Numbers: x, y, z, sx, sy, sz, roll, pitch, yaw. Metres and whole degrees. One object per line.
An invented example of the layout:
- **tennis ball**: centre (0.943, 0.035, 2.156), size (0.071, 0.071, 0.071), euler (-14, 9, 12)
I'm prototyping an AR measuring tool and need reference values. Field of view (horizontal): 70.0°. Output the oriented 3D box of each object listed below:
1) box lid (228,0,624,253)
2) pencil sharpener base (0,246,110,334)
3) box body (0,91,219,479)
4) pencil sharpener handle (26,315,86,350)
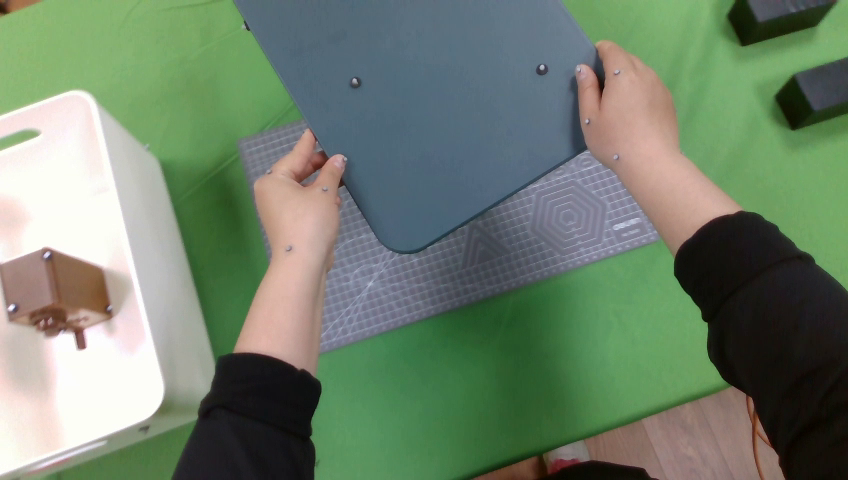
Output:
- **box lid**: centre (-0.014, -0.199, 0.574), size (0.263, 0.015, 0.369), euler (-32, 79, -3)
- **pencil sharpener base**: centre (-0.416, 0.062, 0.685), size (0.061, 0.107, 0.076), euler (-21, 75, -2)
- **box body**: centre (-0.403, 0.061, 0.663), size (0.254, 0.161, 0.361), euler (-21, 74, -1)
- **pencil sharpener handle**: centre (-0.397, 0.103, 0.660), size (0.036, 0.068, 0.030), euler (-23, 74, 7)
